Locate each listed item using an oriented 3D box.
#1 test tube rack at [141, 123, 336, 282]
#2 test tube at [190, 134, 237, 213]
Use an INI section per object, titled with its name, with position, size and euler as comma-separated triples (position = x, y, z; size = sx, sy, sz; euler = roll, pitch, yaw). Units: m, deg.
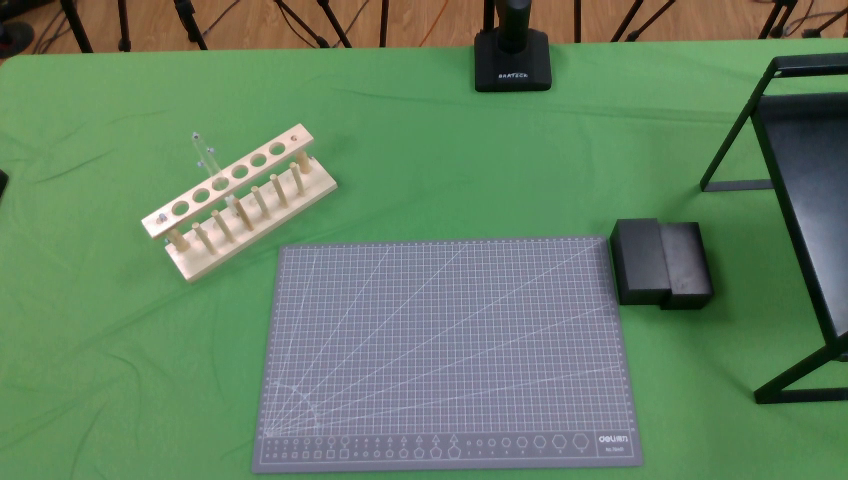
[test tube rack]
position = -0.246, -0.052, 0.830
size = 0.242, 0.086, 0.066
euler = -36, 66, -15
[test tube]
position = -0.270, -0.082, 0.790
size = 0.017, 0.151, 0.017
euler = -2, 57, 3
